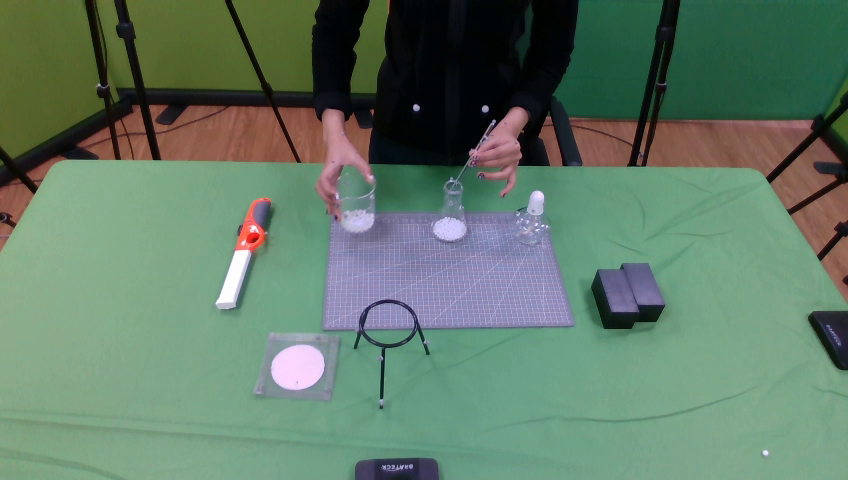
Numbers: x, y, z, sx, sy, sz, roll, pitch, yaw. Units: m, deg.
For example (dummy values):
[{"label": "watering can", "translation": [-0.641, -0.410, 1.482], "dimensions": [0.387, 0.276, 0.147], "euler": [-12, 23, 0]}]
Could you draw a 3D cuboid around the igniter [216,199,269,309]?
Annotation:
[{"label": "igniter", "translation": [-0.342, 0.016, 1.153], "dimensions": [0.057, 0.025, 0.275], "euler": [-3, 45, 7]}]

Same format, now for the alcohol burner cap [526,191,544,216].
[{"label": "alcohol burner cap", "translation": [0.216, -0.073, 1.170], "dimensions": [0.034, 0.048, 0.033], "euler": [0, 42, 0]}]

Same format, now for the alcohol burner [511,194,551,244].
[{"label": "alcohol burner", "translation": [0.215, -0.048, 1.196], "dimensions": [0.078, 0.119, 0.077], "euler": [4, 46, -4]}]

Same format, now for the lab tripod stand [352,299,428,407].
[{"label": "lab tripod stand", "translation": [-0.056, 0.166, 0.958], "dimensions": [0.148, 0.132, 0.147], "euler": [3, 44, -2]}]

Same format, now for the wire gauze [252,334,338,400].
[{"label": "wire gauze", "translation": [-0.209, 0.204, 0.996], "dimensions": [0.125, 0.011, 0.120], "euler": [3, 45, 1]}]

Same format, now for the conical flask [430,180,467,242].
[{"label": "conical flask", "translation": [0.052, -0.060, 1.188], "dimensions": [0.075, 0.122, 0.075], "euler": [2, 46, -2]}]

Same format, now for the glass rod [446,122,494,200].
[{"label": "glass rod", "translation": [0.081, -0.139, 1.101], "dimensions": [0.008, 0.200, 0.008], "euler": [14, 48, -16]}]

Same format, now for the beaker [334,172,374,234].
[{"label": "beaker", "translation": [-0.133, -0.065, 1.143], "dimensions": [0.073, 0.101, 0.084], "euler": [30, 51, 23]}]
